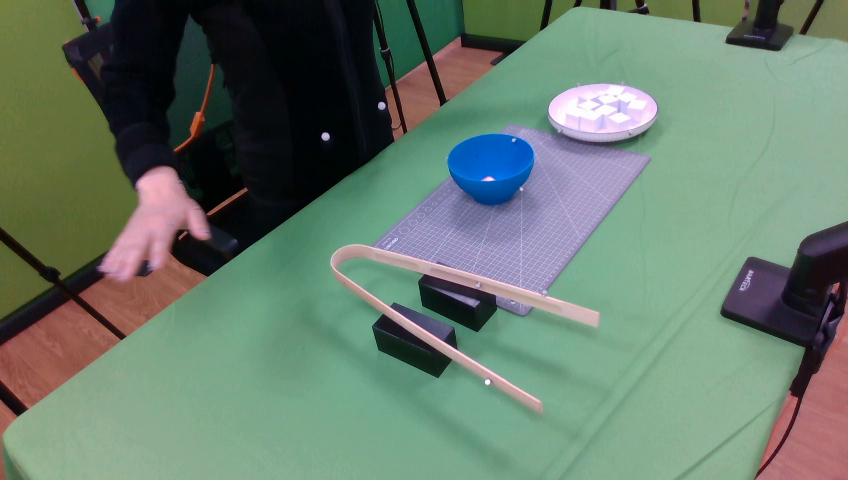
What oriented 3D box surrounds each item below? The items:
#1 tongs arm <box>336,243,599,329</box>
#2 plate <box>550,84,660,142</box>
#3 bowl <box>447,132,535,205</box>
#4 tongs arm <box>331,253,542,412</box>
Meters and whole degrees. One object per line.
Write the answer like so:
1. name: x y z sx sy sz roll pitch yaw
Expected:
1. tongs arm: 0.043 0.063 0.823 0.382 0.026 0.051 17 47 28
2. plate: 0.355 -0.247 1.195 0.207 0.039 0.206 -5 39 5
3. bowl: 0.119 -0.114 1.051 0.151 0.077 0.150 -6 40 5
4. tongs arm: -0.005 0.107 0.777 0.384 0.028 0.028 29 57 37
